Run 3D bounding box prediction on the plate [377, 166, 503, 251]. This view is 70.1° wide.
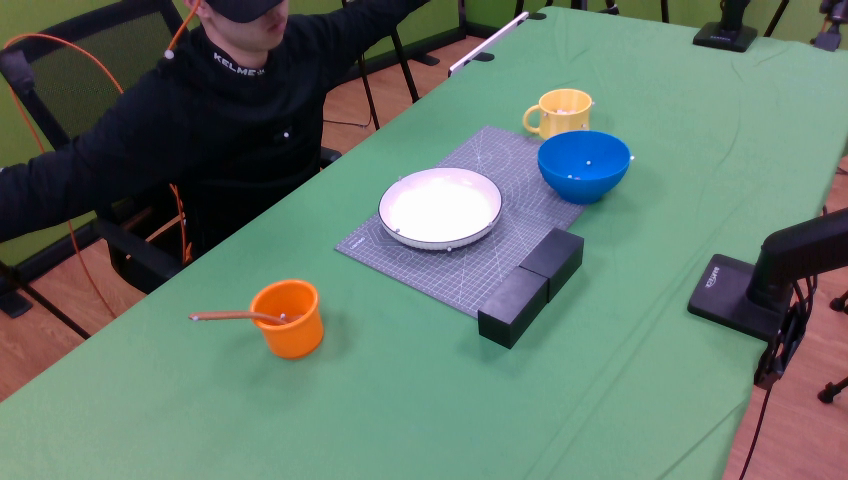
[{"bbox_3d":[0.027,-0.050,1.007,0.209,0.038,0.208,-4,41,4],"label":"plate"}]

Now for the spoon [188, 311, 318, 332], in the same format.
[{"bbox_3d":[-0.216,0.102,0.784,0.041,0.195,0.021,27,95,39],"label":"spoon"}]

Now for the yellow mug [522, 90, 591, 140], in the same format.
[{"bbox_3d":[0.257,-0.239,1.177,0.131,0.064,0.099,-6,40,3],"label":"yellow mug"}]

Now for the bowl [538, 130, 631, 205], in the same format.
[{"bbox_3d":[0.265,-0.113,1.014,0.151,0.077,0.150,-4,40,4],"label":"bowl"}]
